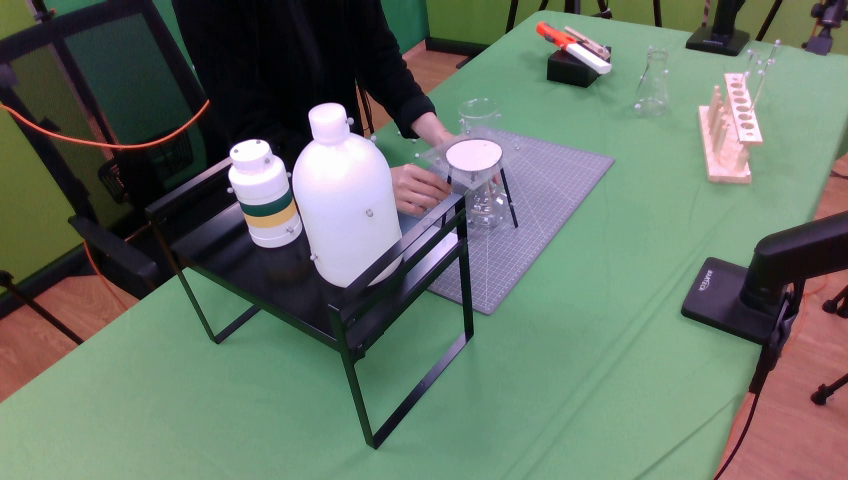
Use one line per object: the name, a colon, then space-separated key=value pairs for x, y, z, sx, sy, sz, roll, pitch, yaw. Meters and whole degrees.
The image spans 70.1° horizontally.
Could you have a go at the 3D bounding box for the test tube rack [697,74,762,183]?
test tube rack: x=0.547 y=-0.208 z=1.095 sx=0.066 sy=0.085 sz=0.242 roll=5 pitch=42 yaw=15

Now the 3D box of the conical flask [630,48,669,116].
conical flask: x=0.456 y=-0.317 z=1.205 sx=0.075 sy=0.122 sz=0.075 roll=-4 pitch=41 yaw=4

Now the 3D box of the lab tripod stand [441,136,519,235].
lab tripod stand: x=0.083 y=-0.086 z=0.976 sx=0.148 sy=0.132 sz=0.147 roll=-4 pitch=42 yaw=4

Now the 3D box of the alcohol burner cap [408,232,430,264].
alcohol burner cap: x=-0.010 y=0.010 z=0.947 sx=0.034 sy=0.048 sz=0.033 roll=-4 pitch=41 yaw=4

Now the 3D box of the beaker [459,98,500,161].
beaker: x=0.104 y=-0.208 z=1.142 sx=0.074 sy=0.101 sz=0.083 roll=-20 pitch=41 yaw=-15

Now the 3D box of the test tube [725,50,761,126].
test tube: x=0.570 y=-0.269 z=1.086 sx=0.017 sy=0.151 sz=0.017 roll=-1 pitch=45 yaw=2

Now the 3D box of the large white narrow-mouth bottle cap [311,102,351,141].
large white narrow-mouth bottle cap: x=-0.089 y=-0.114 z=0.579 sx=0.038 sy=0.024 sz=0.037 roll=-4 pitch=40 yaw=3

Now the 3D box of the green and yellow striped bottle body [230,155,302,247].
green and yellow striped bottle body: x=-0.188 y=-0.055 z=0.714 sx=0.063 sy=0.120 sz=0.063 roll=-4 pitch=41 yaw=4

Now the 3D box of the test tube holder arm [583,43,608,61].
test tube holder arm: x=0.379 y=-0.420 z=1.341 sx=0.010 sy=0.015 sz=0.087 roll=-39 pitch=41 yaw=10

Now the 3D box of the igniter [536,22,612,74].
igniter: x=0.330 y=-0.439 z=1.366 sx=0.057 sy=0.025 sz=0.274 roll=-11 pitch=41 yaw=-20

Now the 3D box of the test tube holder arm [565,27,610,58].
test tube holder arm: x=0.369 y=-0.450 z=1.373 sx=0.013 sy=0.015 sz=0.177 roll=-39 pitch=41 yaw=10

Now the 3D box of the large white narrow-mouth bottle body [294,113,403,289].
large white narrow-mouth bottle body: x=-0.082 y=-0.047 z=0.634 sx=0.102 sy=0.195 sz=0.101 roll=-4 pitch=40 yaw=4

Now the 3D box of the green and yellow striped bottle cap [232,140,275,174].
green and yellow striped bottle cap: x=-0.192 y=-0.094 z=0.680 sx=0.045 sy=0.020 sz=0.045 roll=-5 pitch=39 yaw=5

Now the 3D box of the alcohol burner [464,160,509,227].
alcohol burner: x=0.102 y=-0.080 z=0.982 sx=0.078 sy=0.119 sz=0.077 roll=-4 pitch=42 yaw=4

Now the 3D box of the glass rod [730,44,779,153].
glass rod: x=0.555 y=-0.233 z=1.020 sx=0.008 sy=0.200 sz=0.008 roll=2 pitch=40 yaw=-1

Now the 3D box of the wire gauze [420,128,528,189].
wire gauze: x=0.075 y=-0.132 z=0.926 sx=0.122 sy=0.011 sz=0.124 roll=-34 pitch=47 yaw=-26
